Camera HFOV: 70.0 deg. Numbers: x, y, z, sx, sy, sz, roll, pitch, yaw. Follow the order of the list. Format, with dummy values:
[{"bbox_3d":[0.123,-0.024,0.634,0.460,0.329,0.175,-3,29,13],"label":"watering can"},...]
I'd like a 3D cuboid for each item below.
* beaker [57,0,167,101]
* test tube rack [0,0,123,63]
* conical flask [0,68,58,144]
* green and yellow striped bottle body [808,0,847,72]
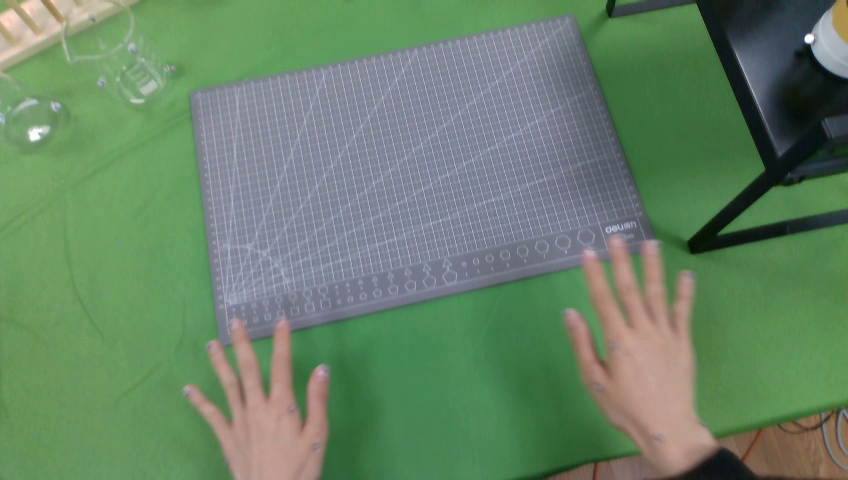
[{"bbox_3d":[-0.330,-0.201,0.649,0.073,0.101,0.084,33,76,12],"label":"beaker"},{"bbox_3d":[-0.430,-0.297,0.689,0.242,0.085,0.066,-32,74,-9],"label":"test tube rack"},{"bbox_3d":[-0.448,-0.158,0.624,0.075,0.122,0.075,0,71,2],"label":"conical flask"},{"bbox_3d":[0.335,-0.178,0.426,0.063,0.120,0.063,0,72,2],"label":"green and yellow striped bottle body"}]
